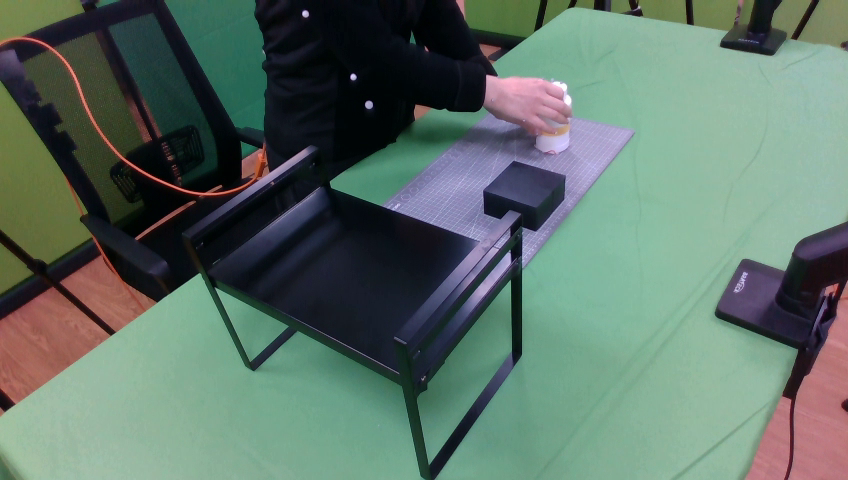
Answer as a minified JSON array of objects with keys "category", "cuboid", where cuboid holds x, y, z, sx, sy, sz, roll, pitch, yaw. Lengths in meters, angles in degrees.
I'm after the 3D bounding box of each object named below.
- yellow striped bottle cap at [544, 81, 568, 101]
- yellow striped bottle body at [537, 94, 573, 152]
[{"category":"yellow striped bottle cap","cuboid":[0.238,-0.269,1.093,0.044,0.019,0.044,-5,39,5]},{"category":"yellow striped bottle body","cuboid":[0.244,-0.230,1.127,0.063,0.121,0.062,-4,41,4]}]
